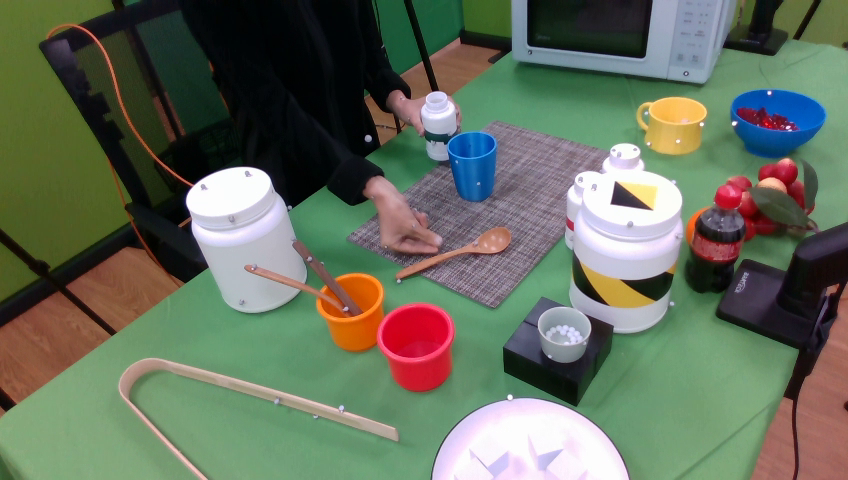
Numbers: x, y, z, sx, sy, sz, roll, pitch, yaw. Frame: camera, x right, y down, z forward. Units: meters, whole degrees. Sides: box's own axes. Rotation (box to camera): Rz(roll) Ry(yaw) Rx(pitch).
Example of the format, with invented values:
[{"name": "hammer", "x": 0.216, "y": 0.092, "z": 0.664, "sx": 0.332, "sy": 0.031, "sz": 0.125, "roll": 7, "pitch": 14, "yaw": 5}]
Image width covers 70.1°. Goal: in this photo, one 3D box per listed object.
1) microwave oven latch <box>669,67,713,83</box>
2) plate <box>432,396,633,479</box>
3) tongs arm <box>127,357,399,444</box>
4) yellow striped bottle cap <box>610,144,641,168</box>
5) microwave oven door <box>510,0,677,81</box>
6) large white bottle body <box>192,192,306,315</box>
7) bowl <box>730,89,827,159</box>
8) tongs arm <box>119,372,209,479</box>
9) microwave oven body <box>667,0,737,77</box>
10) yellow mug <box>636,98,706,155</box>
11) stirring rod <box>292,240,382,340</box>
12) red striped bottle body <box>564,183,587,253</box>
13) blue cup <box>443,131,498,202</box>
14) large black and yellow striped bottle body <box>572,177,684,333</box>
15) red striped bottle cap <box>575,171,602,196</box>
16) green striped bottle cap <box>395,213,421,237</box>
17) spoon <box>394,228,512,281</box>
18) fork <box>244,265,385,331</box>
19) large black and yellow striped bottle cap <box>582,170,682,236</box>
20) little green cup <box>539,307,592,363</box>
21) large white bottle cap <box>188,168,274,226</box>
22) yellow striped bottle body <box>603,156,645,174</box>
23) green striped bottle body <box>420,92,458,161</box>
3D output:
[{"name": "microwave oven latch", "x": 0.556, "y": -0.349, "z": 1.261, "sx": 0.078, "sy": 0.029, "sz": 0.030, "roll": 16, "pitch": 46, "yaw": 27}, {"name": "plate", "x": 0.112, "y": 0.261, "z": 0.634, "sx": 0.209, "sy": 0.038, "sz": 0.208, "roll": -5, "pitch": 40, "yaw": 4}, {"name": "tongs arm", "x": -0.213, "y": 0.205, "z": 0.755, "sx": 0.382, "sy": 0.026, "sz": 0.051, "roll": 12, "pitch": 46, "yaw": 23}, {"name": "yellow striped bottle cap", "x": 0.307, "y": -0.128, "z": 0.923, "sx": 0.044, "sy": 0.019, "sz": 0.044, "roll": -6, "pitch": 39, "yaw": 5}, {"name": "microwave oven door", "x": 0.354, "y": -0.478, "z": 1.290, "sx": 0.353, "sy": 0.245, "sz": 0.039, "roll": 15, "pitch": 45, "yaw": 25}, {"name": "large white bottle body", "x": -0.256, "y": 0.004, "z": 0.885, "sx": 0.130, "sy": 0.185, "sz": 0.130, "roll": -4, "pitch": 40, "yaw": 4}, {"name": "bowl", "x": 0.615, "y": -0.197, "z": 1.069, "sx": 0.151, "sy": 0.077, "sz": 0.150, "roll": -5, "pitch": 40, "yaw": 5}, {"name": "tongs arm", "x": -0.258, "y": 0.257, "z": 0.700, "sx": 0.384, "sy": 0.028, "sz": 0.028, "roll": 24, "pitch": 55, "yaw": 34}, {"name": "microwave oven body", "x": 0.462, "y": -0.552, "z": 1.368, "sx": 0.439, "sy": 0.261, "sz": 0.326, "roll": 15, "pitch": 45, "yaw": 26}, {"name": "yellow mug", "x": 0.453, "y": -0.218, "z": 1.129, "sx": 0.100, "sy": 0.064, "sz": 0.129, "roll": -34, "pitch": 46, "yaw": -27}, {"name": "stirring rod", "x": -0.119, "y": 0.068, "z": 0.826, "sx": 0.176, "sy": 0.006, "sz": 0.014, "roll": 49, "pitch": 58, "yaw": -4}, {"name": "red striped bottle body", "x": 0.246, "y": -0.041, "z": 0.910, "sx": 0.063, "sy": 0.120, "sz": 0.062, "roll": -2, "pitch": 38, "yaw": 2}, {"name": "blue cup", "x": 0.087, "y": -0.122, "z": 1.040, "sx": 0.092, "sy": 0.100, "sz": 0.092, "roll": -5, "pitch": 41, "yaw": 5}, {"name": "large black and yellow striped bottle body", "x": 0.262, "y": 0.017, "z": 0.788, "sx": 0.131, "sy": 0.185, "sz": 0.130, "roll": -5, "pitch": 40, "yaw": 4}, {"name": "red striped bottle cap", "x": 0.242, "y": -0.081, "z": 0.876, "sx": 0.044, "sy": 0.018, "sz": 0.044, "roll": -5, "pitch": 44, "yaw": 5}, {"name": "green striped bottle cap", "x": -0.027, "y": -0.026, "z": 1.009, "sx": 0.044, "sy": 0.020, "sz": 0.044, "roll": -1, "pitch": 40, "yaw": 1}, {"name": "spoon", "x": 0.045, "y": 0.024, "z": 0.935, "sx": 0.194, "sy": 0.022, "sz": 0.041, "roll": -18, "pitch": 68, "yaw": -11}, {"name": "fork", "x": -0.142, "y": 0.078, "z": 0.806, "sx": 0.209, "sy": 0.018, "sz": 0.028, "roll": 30, "pitch": 32, "yaw": -23}, {"name": "large black and yellow striped bottle cap", "x": 0.252, "y": -0.048, "z": 0.735, "sx": 0.115, "sy": 0.019, "sz": 0.114, "roll": -3, "pitch": 40, "yaw": 3}, {"name": "little green cup", "x": 0.168, "y": 0.115, "z": 0.721, "sx": 0.061, "sy": 0.039, "sz": 0.061, "roll": -4, "pitch": 42, "yaw": 4}, {"name": "large white bottle cap", "x": -0.264, "y": -0.061, "z": 0.831, "sx": 0.115, "sy": 0.018, "sz": 0.114, "roll": -4, "pitch": 40, "yaw": 4}, {"name": "yellow striped bottle body", "x": 0.313, "y": -0.089, "z": 0.956, "sx": 0.063, "sy": 0.121, "sz": 0.062, "roll": -5, "pitch": 40, "yaw": 4}, {"name": "green striped bottle body", "x": 0.029, "y": -0.208, "z": 1.104, "sx": 0.063, "sy": 0.120, "sz": 0.063, "roll": -5, "pitch": 46, "yaw": 6}]
